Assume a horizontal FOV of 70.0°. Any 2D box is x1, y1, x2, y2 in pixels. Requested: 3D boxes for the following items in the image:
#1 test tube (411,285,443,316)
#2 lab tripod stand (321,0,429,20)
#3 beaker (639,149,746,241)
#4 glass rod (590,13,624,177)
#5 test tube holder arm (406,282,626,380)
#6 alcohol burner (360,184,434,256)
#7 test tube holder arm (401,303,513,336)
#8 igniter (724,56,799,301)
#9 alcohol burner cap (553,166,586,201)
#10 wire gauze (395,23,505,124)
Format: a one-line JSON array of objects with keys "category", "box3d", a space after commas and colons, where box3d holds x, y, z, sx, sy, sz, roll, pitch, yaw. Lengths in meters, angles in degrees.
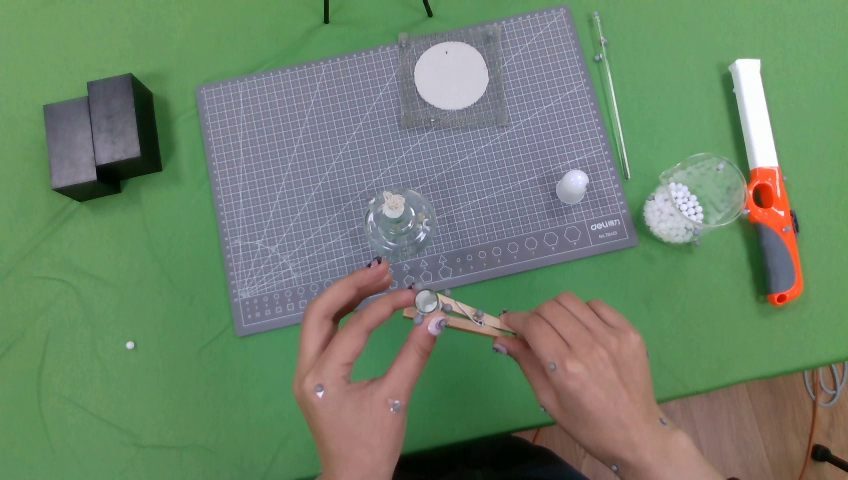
[{"category": "test tube", "box3d": [0.004, 0.045, 0.430, 0.017, 0.151, 0.017, 0, 81, 3]}, {"category": "lab tripod stand", "box3d": [-0.063, -0.314, 0.668, 0.148, 0.132, 0.148, 0, 81, 2]}, {"category": "beaker", "box3d": [0.267, -0.043, 0.625, 0.084, 0.100, 0.074, 19, 79, 7]}, {"category": "glass rod", "box3d": [0.210, -0.168, 0.695, 0.008, 0.008, 0.199, -7, 82, 0]}, {"category": "test tube holder arm", "box3d": [0.070, 0.070, 0.466, 0.178, 0.015, 0.013, 21, 82, 2]}, {"category": "alcohol burner", "box3d": [-0.029, -0.025, 0.620, 0.078, 0.119, 0.077, -1, 78, 4]}, {"category": "test tube holder arm", "box3d": [0.026, 0.061, 0.466, 0.088, 0.015, 0.010, 11, 81, 1]}, {"category": "igniter", "box3d": [0.369, -0.071, 0.663, 0.057, 0.025, 0.275, -3, 79, -9]}, {"category": "alcohol burner cap", "box3d": [0.160, -0.064, 0.658, 0.034, 0.048, 0.033, 0, 79, 2]}, {"category": "wire gauze", "box3d": [0.029, -0.192, 0.703, 0.125, 0.011, 0.121, -2, 80, 1]}]
